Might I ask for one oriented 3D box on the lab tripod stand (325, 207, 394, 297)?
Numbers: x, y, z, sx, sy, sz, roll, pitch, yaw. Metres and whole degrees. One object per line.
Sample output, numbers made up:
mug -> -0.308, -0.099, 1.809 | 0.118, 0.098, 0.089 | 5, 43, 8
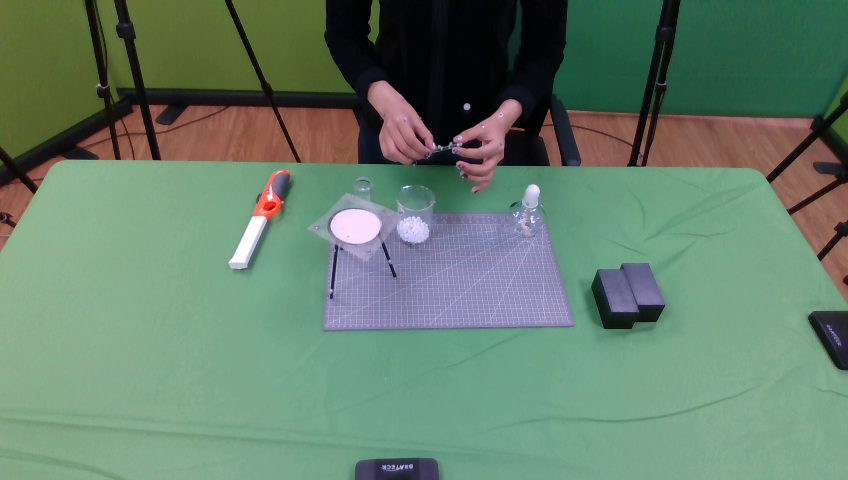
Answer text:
lab tripod stand -> -0.124, 0.017, 1.092 | 0.148, 0.132, 0.147 | 3, 44, -3

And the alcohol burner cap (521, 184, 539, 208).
alcohol burner cap -> 0.210, -0.087, 1.184 | 0.034, 0.048, 0.033 | 1, 53, -1

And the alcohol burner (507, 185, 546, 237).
alcohol burner -> 0.208, -0.063, 1.211 | 0.078, 0.119, 0.077 | 3, 44, -3

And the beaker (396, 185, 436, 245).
beaker -> -0.022, -0.048, 1.187 | 0.074, 0.101, 0.083 | -28, 53, -28

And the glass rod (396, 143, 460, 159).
glass rod -> 0.004, -0.164, 1.122 | 0.008, 0.008, 0.199 | -33, 18, -30

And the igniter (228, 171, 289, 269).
igniter -> -0.328, -0.049, 1.218 | 0.057, 0.025, 0.275 | 1, 45, 11

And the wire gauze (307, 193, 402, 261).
wire gauze -> -0.118, -0.028, 1.043 | 0.125, 0.011, 0.121 | 24, 47, 17

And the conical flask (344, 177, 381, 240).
conical flask -> -0.121, -0.065, 1.180 | 0.075, 0.122, 0.075 | 2, 46, -2
